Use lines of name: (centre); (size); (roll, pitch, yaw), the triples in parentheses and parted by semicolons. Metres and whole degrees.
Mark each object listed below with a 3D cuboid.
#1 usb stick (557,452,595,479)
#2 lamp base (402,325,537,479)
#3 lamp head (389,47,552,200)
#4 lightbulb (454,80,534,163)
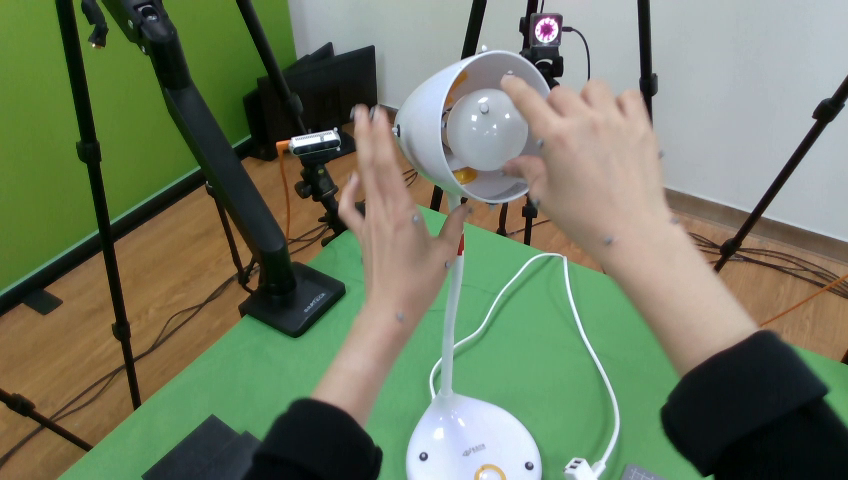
usb stick: (0.176, 0.272, 0.684); (0.027, 0.059, 0.021); (-30, 6, -35)
lamp base: (0.045, 0.193, 0.677); (0.161, 0.182, 0.177); (-25, 43, -26)
lamp head: (0.026, -0.088, 0.495); (0.112, 0.113, 0.122); (-26, 16, -26)
lightbulb: (0.053, -0.099, 0.469); (0.059, 0.060, 0.107); (1, 29, 3)
